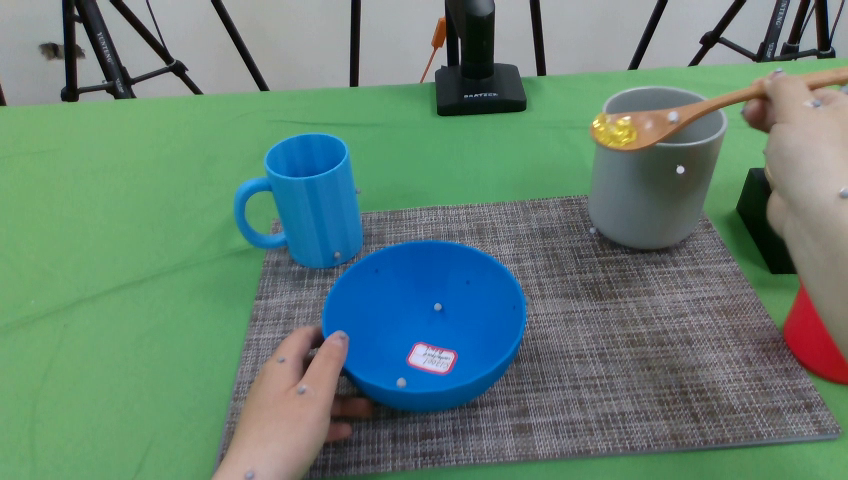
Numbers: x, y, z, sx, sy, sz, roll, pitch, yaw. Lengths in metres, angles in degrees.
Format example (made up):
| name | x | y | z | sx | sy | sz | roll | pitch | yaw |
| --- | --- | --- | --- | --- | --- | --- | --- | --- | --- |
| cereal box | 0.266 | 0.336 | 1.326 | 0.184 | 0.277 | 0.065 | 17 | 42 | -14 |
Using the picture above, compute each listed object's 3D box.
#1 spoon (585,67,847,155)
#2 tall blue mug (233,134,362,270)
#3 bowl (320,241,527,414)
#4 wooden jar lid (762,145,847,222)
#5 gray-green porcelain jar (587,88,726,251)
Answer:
| name | x | y | z | sx | sy | sz | roll | pitch | yaw |
| --- | --- | --- | --- | --- | --- | --- | --- | --- | --- |
| spoon | 0.210 | -0.092 | 0.418 | 0.193 | 0.022 | 0.041 | -15 | 43 | 16 |
| tall blue mug | -0.114 | -0.028 | 0.572 | 0.077 | 0.109 | 0.107 | 31 | 52 | 32 |
| bowl | 0.001 | 0.078 | 0.466 | 0.151 | 0.077 | 0.150 | -2 | 41 | 2 |
| wooden jar lid | 0.371 | -0.052 | 0.559 | 0.108 | 0.021 | 0.107 | -3 | 41 | 3 |
| gray-green porcelain jar | 0.212 | -0.062 | 0.572 | 0.106 | 0.127 | 0.105 | -2 | 41 | 2 |
